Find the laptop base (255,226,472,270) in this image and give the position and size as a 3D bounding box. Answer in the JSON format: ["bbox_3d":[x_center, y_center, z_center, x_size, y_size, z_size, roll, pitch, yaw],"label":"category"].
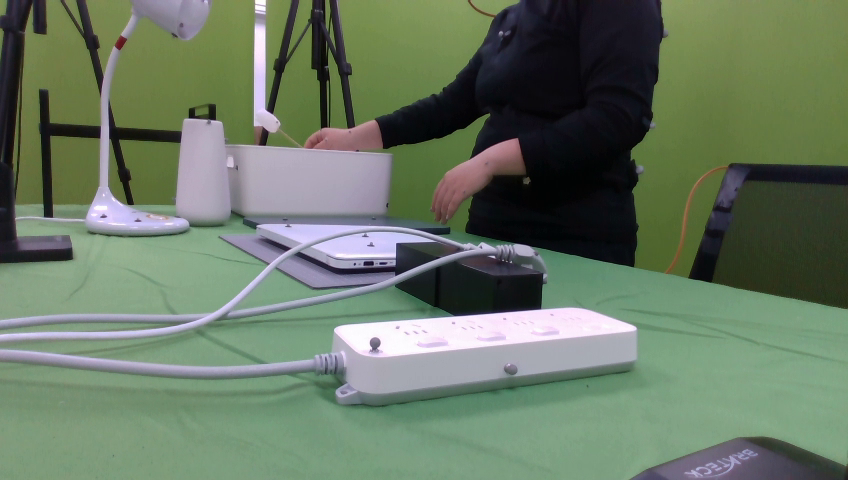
[{"bbox_3d":[-0.095,0.011,0.912,0.237,0.023,0.352,3,6,-32],"label":"laptop base"}]

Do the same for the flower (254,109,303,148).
[{"bbox_3d":[-0.260,-0.194,1.469,0.362,0.038,0.044,38,-6,-7],"label":"flower"}]

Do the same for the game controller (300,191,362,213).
[{"bbox_3d":[-0.240,-0.098,1.550,0.155,0.051,0.097,3,8,4],"label":"game controller"}]

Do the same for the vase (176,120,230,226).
[{"bbox_3d":[-0.425,-0.128,1.159,0.098,0.200,0.098,2,9,0],"label":"vase"}]

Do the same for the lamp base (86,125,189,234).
[{"bbox_3d":[-0.497,-0.105,1.027,0.179,0.180,0.160,1,7,3],"label":"lamp base"}]

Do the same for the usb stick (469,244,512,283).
[{"bbox_3d":[0.080,0.029,0.674,0.059,0.021,0.027,28,25,-29],"label":"usb stick"}]

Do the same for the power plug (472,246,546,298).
[{"bbox_3d":[0.081,0.030,0.584,0.072,0.052,0.035,11,28,9],"label":"power plug"}]

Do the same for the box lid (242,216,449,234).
[{"bbox_3d":[-0.162,-0.030,1.233,0.373,0.015,0.262,-1,8,-32],"label":"box lid"}]

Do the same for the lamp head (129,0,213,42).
[{"bbox_3d":[-0.423,-0.394,0.980,0.123,0.112,0.112,20,7,-3],"label":"lamp head"}]

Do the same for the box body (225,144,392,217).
[{"bbox_3d":[-0.289,-0.143,1.475,0.366,0.160,0.253,-1,9,-29],"label":"box body"}]

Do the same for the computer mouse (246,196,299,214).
[{"bbox_3d":[-0.354,-0.083,1.418,0.117,0.041,0.063,0,10,7],"label":"computer mouse"}]

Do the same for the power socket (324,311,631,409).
[{"bbox_3d":[0.042,0.075,0.410,0.228,0.032,0.072,-1,8,-25],"label":"power socket"}]

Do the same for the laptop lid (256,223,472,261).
[{"bbox_3d":[-0.092,0.000,0.912,0.243,0.013,0.355,1,7,-30],"label":"laptop lid"}]
